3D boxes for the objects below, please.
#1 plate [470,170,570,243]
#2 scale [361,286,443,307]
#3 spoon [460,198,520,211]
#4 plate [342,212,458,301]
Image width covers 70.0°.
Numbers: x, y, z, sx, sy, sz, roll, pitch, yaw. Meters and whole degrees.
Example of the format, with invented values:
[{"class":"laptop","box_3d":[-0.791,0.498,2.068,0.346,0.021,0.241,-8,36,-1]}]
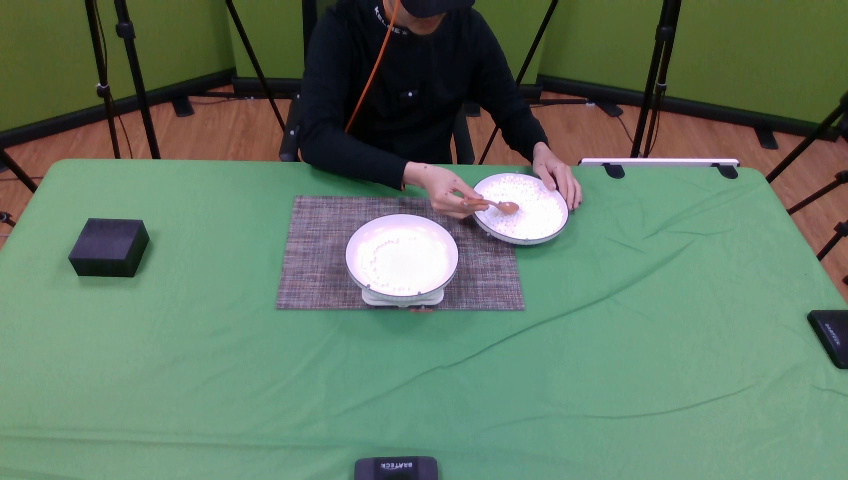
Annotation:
[{"class":"plate","box_3d":[0.196,-0.066,1.259,0.209,0.038,0.208,3,46,-3]},{"class":"scale","box_3d":[-0.042,0.040,1.143,0.149,0.032,0.199,0,46,-4]},{"class":"spoon","box_3d":[0.129,-0.074,1.192,0.041,0.021,0.194,35,19,34]},{"class":"plate","box_3d":[-0.043,0.033,1.105,0.208,0.039,0.206,2,46,-2]}]
